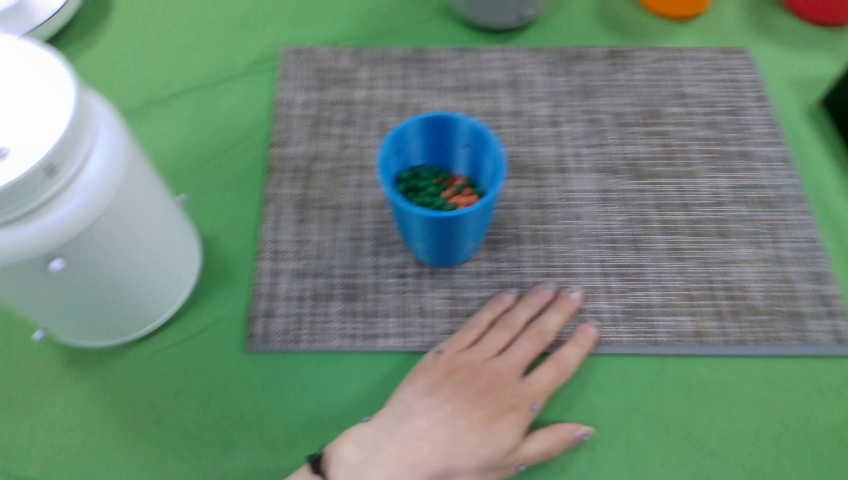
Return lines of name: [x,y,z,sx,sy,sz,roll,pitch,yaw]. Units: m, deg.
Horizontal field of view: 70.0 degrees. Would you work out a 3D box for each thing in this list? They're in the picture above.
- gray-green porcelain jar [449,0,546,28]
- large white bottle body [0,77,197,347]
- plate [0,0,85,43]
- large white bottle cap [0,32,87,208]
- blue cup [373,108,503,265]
gray-green porcelain jar: [0.073,-0.272,0.560,0.106,0.127,0.105,0,62,0]
large white bottle body: [-0.236,-0.020,0.384,0.131,0.186,0.129,1,62,-1]
plate: [-0.422,-0.239,0.580,0.208,0.039,0.206,1,62,-1]
large white bottle cap: [-0.236,-0.061,0.310,0.115,0.018,0.114,1,62,-1]
blue cup: [0.010,-0.029,0.439,0.092,0.101,0.092,0,62,1]
